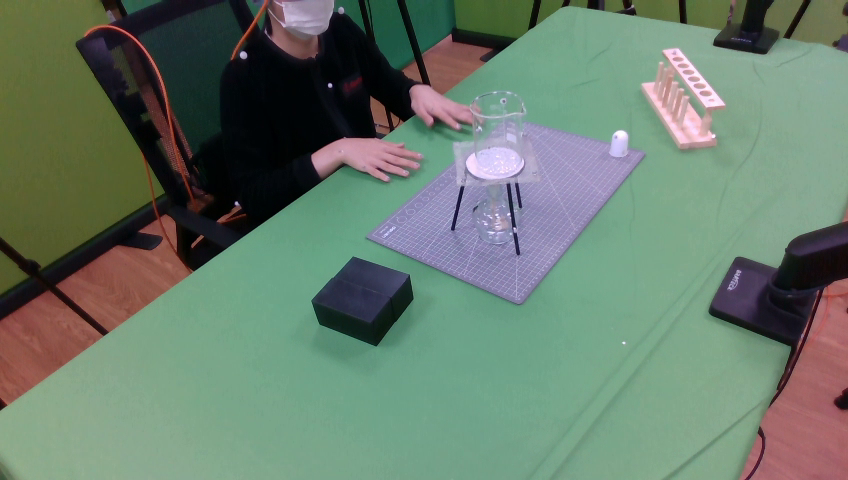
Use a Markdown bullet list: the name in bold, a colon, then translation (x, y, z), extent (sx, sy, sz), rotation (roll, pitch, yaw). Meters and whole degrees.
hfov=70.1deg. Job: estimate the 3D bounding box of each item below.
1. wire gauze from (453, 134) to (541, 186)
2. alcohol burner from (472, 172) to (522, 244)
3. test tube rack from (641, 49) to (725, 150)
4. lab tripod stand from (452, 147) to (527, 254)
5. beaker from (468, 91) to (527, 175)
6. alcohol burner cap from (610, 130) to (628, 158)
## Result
- **wire gauze**: translation (0.106, -0.118, 0.903), extent (0.125, 0.011, 0.121), rotation (-6, 39, 7)
- **alcohol burner**: translation (0.112, -0.053, 0.942), extent (0.078, 0.119, 0.077), rotation (-6, 40, 5)
- **test tube rack**: translation (0.495, -0.279, 1.175), extent (0.067, 0.085, 0.241), rotation (-5, 41, 3)
- **lab tripod stand**: translation (0.111, -0.066, 0.943), extent (0.148, 0.132, 0.147), rotation (-5, 42, 5)
- **beaker**: translation (0.108, -0.151, 0.865), extent (0.083, 0.101, 0.074), rotation (16, 47, 26)
- **alcohol burner cap**: translation (0.359, -0.177, 1.106), extent (0.034, 0.048, 0.033), rotation (-5, 41, 5)
